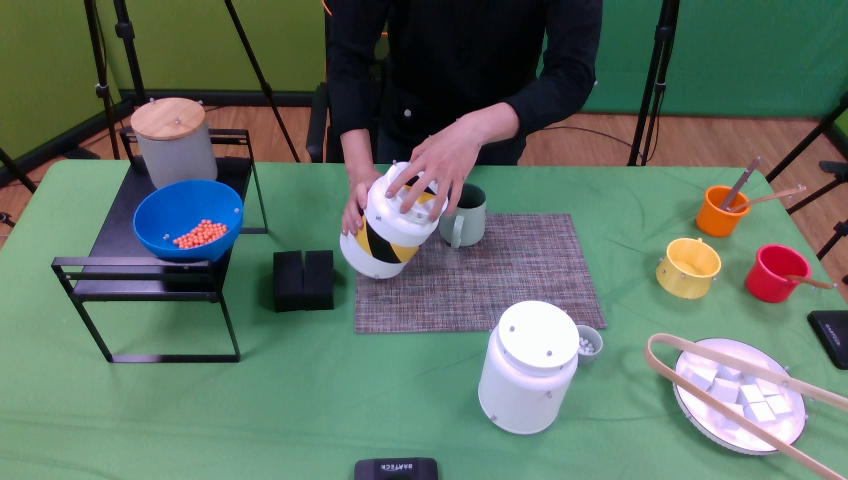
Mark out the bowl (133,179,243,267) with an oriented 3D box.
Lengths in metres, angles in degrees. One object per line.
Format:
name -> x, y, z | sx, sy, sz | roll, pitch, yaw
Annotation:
bowl -> -0.339, -0.013, 0.895 | 0.151, 0.077, 0.150 | 2, 46, -2

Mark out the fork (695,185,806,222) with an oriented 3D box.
fork -> 0.658, -0.074, 1.229 | 0.207, 0.019, 0.028 | -23, 36, 37

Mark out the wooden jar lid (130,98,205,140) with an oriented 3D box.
wooden jar lid -> -0.393, -0.183, 0.934 | 0.108, 0.021, 0.107 | 3, 43, -2

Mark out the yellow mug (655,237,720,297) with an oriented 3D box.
yellow mug -> 0.509, 0.041, 1.167 | 0.099, 0.064, 0.130 | 24, 48, 18

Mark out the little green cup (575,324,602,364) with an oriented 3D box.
little green cup -> 0.269, 0.180, 1.035 | 0.061, 0.039, 0.061 | 2, 45, -2

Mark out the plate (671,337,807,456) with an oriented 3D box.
plate -> 0.503, 0.254, 0.984 | 0.208, 0.039, 0.206 | 2, 46, -2

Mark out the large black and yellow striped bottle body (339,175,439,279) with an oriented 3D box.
large black and yellow striped bottle body -> -0.056, -0.031, 1.052 | 0.131, 0.184, 0.130 | 20, 44, -21

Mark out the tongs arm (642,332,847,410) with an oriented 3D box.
tongs arm -> 0.546, 0.228, 0.968 | 0.384, 0.026, 0.050 | 22, 53, 13

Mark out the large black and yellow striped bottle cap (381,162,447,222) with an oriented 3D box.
large black and yellow striped bottle cap -> -0.015, -0.081, 0.998 | 0.115, 0.019, 0.114 | 19, 45, -21

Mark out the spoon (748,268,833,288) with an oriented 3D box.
spoon -> 0.660, 0.068, 1.097 | 0.041, 0.193, 0.021 | -4, 91, -6

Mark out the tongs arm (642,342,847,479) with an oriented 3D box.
tongs arm -> 0.504, 0.280, 0.919 | 0.386, 0.028, 0.028 | 33, 59, 22

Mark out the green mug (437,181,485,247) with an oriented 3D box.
green mug -> 0.071, -0.040, 1.178 | 0.092, 0.105, 0.124 | 13, 47, 7

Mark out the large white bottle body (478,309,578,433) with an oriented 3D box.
large white bottle body -> 0.156, 0.192, 0.913 | 0.131, 0.185, 0.130 | 2, 46, -2

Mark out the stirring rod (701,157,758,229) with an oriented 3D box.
stirring rod -> 0.634, -0.096, 1.257 | 0.014, 0.006, 0.176 | 38, 97, 29

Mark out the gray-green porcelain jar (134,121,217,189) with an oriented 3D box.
gray-green porcelain jar -> -0.397, -0.141, 0.980 | 0.106, 0.127, 0.105 | 2, 47, -2

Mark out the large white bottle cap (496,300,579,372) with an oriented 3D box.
large white bottle cap -> 0.160, 0.133, 0.852 | 0.115, 0.018, 0.114 | 3, 46, -2
